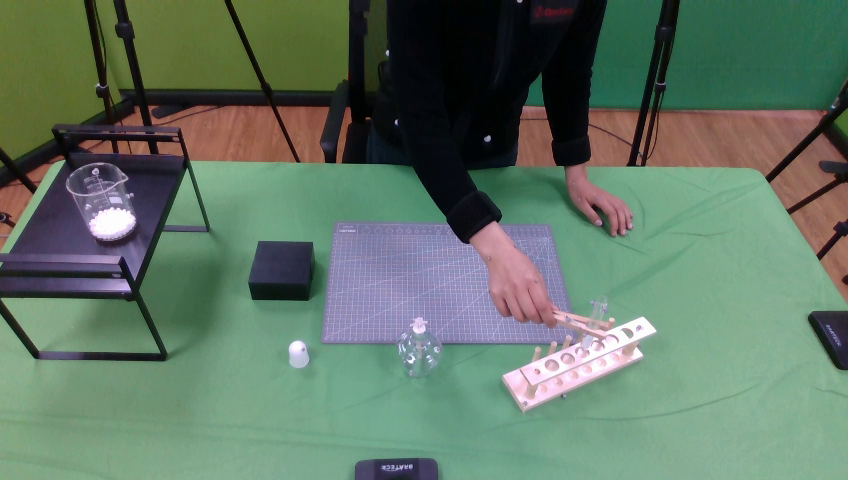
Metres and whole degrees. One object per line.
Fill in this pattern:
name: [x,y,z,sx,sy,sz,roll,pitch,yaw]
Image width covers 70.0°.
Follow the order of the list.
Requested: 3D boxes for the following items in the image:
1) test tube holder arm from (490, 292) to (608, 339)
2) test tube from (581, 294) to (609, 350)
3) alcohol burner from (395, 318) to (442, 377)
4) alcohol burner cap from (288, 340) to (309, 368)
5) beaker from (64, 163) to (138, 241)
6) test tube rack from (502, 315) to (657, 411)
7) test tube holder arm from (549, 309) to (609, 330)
test tube holder arm: [0.182,0.110,0.899,0.178,0.015,0.013,17,52,18]
test tube: [0.245,0.121,0.874,0.017,0.151,0.017,-2,55,3]
alcohol burner: [-0.009,0.167,0.971,0.078,0.120,0.077,1,46,0]
alcohol burner cap: [-0.207,0.183,0.991,0.034,0.048,0.033,3,47,-3]
beaker: [-0.477,-0.055,0.910,0.084,0.101,0.073,-9,48,-13]
test tube rack: [0.253,0.187,0.988,0.242,0.085,0.066,-18,50,-20]
test tube holder arm: [0.226,0.117,0.889,0.087,0.015,0.010,12,51,14]
